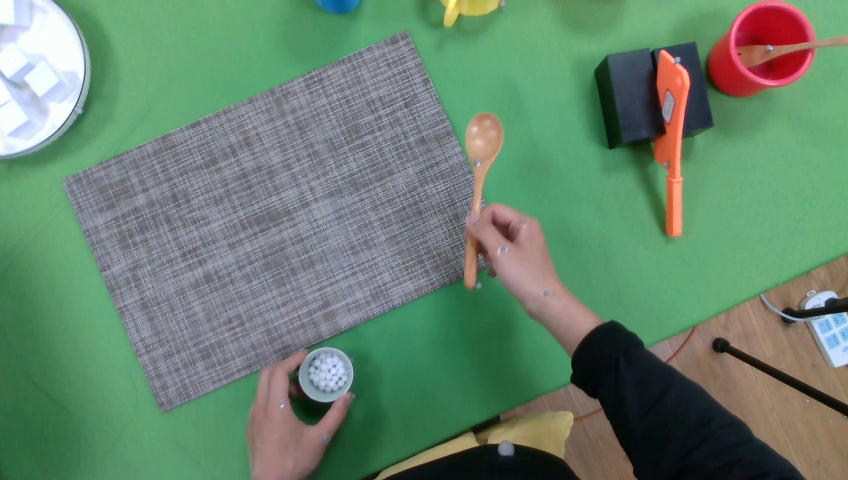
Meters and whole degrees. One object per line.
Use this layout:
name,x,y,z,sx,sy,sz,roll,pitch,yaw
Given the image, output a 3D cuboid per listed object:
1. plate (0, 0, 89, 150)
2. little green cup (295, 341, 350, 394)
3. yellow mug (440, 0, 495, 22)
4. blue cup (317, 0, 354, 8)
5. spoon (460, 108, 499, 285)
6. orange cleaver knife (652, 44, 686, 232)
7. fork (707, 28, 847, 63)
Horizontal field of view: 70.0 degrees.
plate,-0.491,-0.204,0.705,0.208,0.039,0.207,0,88,-1
little green cup,-0.114,0.146,0.702,0.061,0.038,0.061,0,86,2
yellow mug,0.049,-0.317,0.706,0.100,0.064,0.131,24,89,0
blue cup,-0.105,-0.312,0.686,0.093,0.100,0.092,0,89,-2
spoon,0.051,-0.048,0.635,0.041,0.022,0.192,7,72,3
orange cleaver knife,0.277,-0.113,0.696,0.012,0.076,0.213,-9,117,1
fork,0.425,-0.222,0.671,0.206,0.019,0.028,3,84,41
